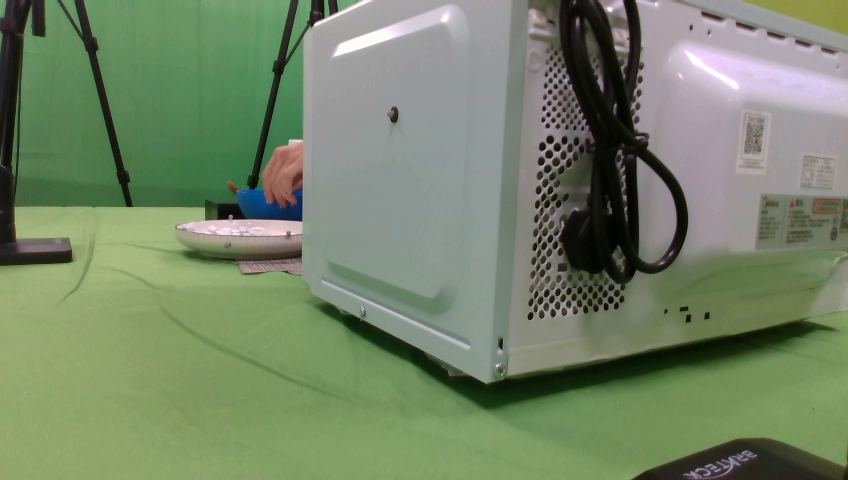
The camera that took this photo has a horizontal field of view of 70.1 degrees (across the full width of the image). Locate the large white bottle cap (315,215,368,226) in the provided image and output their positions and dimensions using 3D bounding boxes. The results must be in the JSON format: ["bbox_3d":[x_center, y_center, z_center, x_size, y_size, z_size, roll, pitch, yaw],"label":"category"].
[{"bbox_3d":[-0.177,-0.042,1.309,0.115,0.018,0.115,2,5,0],"label":"large white bottle cap"}]

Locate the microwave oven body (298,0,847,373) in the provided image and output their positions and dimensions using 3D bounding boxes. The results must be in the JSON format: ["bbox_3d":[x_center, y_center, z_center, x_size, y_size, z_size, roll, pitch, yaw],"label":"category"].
[{"bbox_3d":[0.151,-0.055,0.542,0.444,0.260,0.324,-1,7,-33],"label":"microwave oven body"}]

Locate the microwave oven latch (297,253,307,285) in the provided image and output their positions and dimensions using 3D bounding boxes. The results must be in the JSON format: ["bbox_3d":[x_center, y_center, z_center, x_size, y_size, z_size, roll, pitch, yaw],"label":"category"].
[{"bbox_3d":[-0.082,0.027,0.582,0.079,0.029,0.030,-1,7,-32],"label":"microwave oven latch"}]

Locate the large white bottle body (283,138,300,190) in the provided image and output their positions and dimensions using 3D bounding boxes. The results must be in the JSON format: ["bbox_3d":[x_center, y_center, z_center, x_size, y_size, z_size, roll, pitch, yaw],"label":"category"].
[{"bbox_3d":[-0.265,-0.144,1.424,0.131,0.184,0.130,2,7,0],"label":"large white bottle body"}]

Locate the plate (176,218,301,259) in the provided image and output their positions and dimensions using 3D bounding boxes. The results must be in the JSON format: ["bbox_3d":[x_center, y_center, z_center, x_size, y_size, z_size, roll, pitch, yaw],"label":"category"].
[{"bbox_3d":[-0.248,-0.003,0.877,0.209,0.038,0.209,1,8,0],"label":"plate"}]

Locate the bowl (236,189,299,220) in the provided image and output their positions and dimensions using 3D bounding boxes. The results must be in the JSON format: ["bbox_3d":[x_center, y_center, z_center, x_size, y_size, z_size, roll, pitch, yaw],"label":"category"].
[{"bbox_3d":[-0.253,-0.047,1.065,0.151,0.077,0.151,3,8,0],"label":"bowl"}]

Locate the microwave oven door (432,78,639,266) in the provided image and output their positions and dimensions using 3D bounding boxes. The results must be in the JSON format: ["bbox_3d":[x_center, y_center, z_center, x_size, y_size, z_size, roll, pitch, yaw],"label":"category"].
[{"bbox_3d":[0.145,-0.106,0.904,0.039,0.243,0.354,-4,10,-40],"label":"microwave oven door"}]

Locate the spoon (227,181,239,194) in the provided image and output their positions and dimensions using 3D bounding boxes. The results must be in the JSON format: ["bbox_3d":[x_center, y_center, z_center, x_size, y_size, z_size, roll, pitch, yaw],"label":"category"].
[{"bbox_3d":[-0.315,-0.074,1.235,0.195,0.021,0.041,24,-10,-37],"label":"spoon"}]
